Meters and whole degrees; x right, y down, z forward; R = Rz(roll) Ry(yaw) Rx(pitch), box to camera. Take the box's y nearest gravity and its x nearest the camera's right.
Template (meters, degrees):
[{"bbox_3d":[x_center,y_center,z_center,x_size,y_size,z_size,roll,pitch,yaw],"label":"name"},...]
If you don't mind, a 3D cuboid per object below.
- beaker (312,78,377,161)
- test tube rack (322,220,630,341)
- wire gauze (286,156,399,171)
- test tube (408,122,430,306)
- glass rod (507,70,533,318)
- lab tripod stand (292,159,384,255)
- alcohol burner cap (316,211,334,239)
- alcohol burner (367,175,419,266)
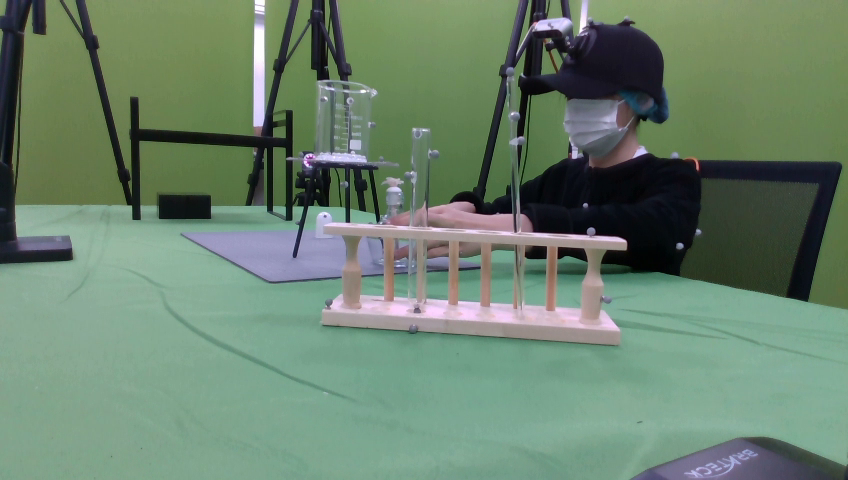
[{"bbox_3d":[-0.103,-0.151,0.775,0.084,0.100,0.074,5,6,14],"label":"beaker"},{"bbox_3d":[0.041,0.029,0.512,0.242,0.085,0.067,3,7,5],"label":"test tube rack"},{"bbox_3d":[-0.101,-0.103,0.788,0.121,0.011,0.125,5,4,6],"label":"wire gauze"},{"bbox_3d":[-0.004,-0.019,0.489,0.017,0.150,0.017,1,11,0],"label":"test tube"},{"bbox_3d":[0.076,-0.031,0.476,0.008,0.199,0.008,-6,13,2],"label":"glass rod"},{"bbox_3d":[-0.105,-0.039,0.797,0.148,0.131,0.148,2,5,0],"label":"lab tripod stand"},{"bbox_3d":[-0.171,-0.027,1.048,0.034,0.048,0.034,2,8,0],"label":"alcohol burner cap"},{"bbox_3d":[-0.037,-0.026,0.795,0.078,0.119,0.078,0,7,0],"label":"alcohol burner"}]
